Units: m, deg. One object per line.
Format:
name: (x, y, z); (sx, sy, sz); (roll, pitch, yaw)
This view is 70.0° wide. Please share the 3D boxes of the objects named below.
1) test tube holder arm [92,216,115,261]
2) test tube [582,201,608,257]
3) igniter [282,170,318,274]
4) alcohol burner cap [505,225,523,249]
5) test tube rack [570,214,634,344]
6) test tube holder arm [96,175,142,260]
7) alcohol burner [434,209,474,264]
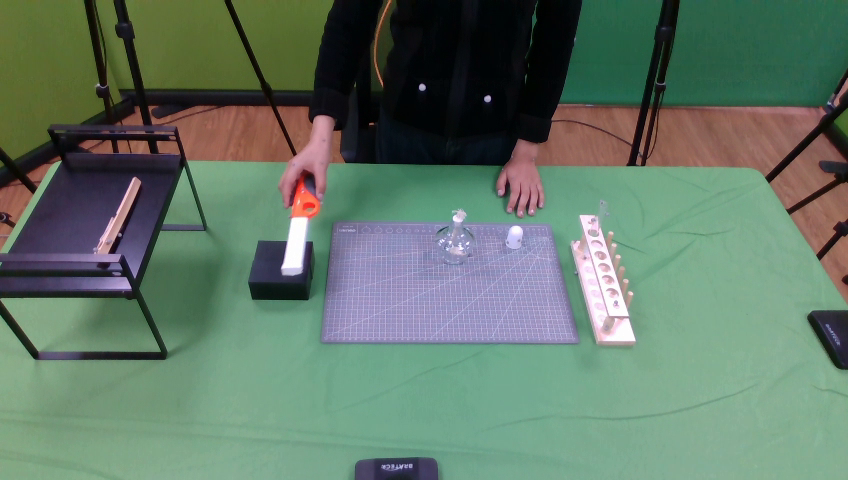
test tube holder arm: (-0.479, -0.004, 0.917); (0.010, 0.015, 0.087); (-18, 44, 20)
test tube: (0.316, -0.017, 1.127); (0.017, 0.151, 0.017); (1, 51, -1)
igniter: (-0.221, -0.042, 1.088); (0.057, 0.025, 0.274); (-1, 42, -3)
alcohol burner cap: (0.180, -0.009, 1.203); (0.034, 0.048, 0.033); (2, 46, -2)
test tube rack: (0.333, 0.067, 1.116); (0.067, 0.085, 0.241); (1, 46, -3)
test tube holder arm: (-0.473, -0.039, 0.946); (0.013, 0.015, 0.177); (-18, 43, 19)
alcohol burner: (0.058, -0.011, 1.147); (0.078, 0.119, 0.077); (3, 44, -3)
